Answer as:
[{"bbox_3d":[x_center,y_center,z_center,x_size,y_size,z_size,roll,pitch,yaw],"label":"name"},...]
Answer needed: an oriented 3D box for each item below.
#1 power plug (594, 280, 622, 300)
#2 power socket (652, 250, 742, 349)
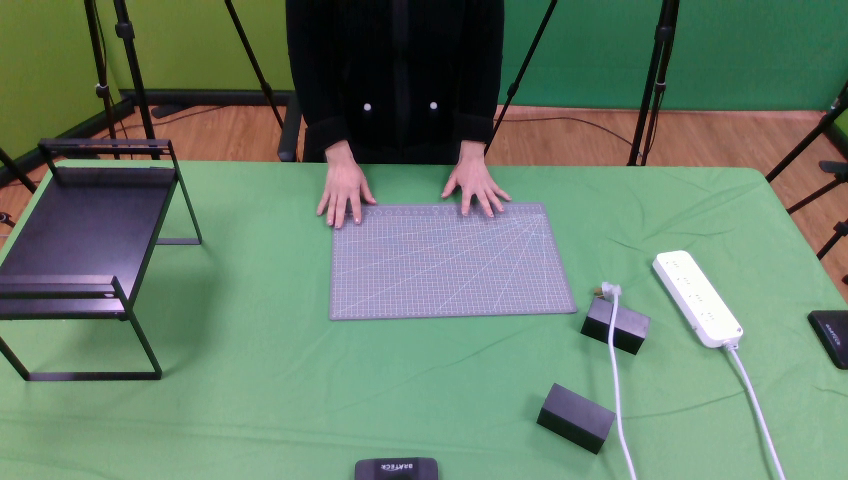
[{"bbox_3d":[0.331,0.092,1.106,0.052,0.073,0.035,-17,82,28],"label":"power plug"},{"bbox_3d":[0.502,0.104,1.127,0.072,0.033,0.225,-8,48,-11],"label":"power socket"}]
